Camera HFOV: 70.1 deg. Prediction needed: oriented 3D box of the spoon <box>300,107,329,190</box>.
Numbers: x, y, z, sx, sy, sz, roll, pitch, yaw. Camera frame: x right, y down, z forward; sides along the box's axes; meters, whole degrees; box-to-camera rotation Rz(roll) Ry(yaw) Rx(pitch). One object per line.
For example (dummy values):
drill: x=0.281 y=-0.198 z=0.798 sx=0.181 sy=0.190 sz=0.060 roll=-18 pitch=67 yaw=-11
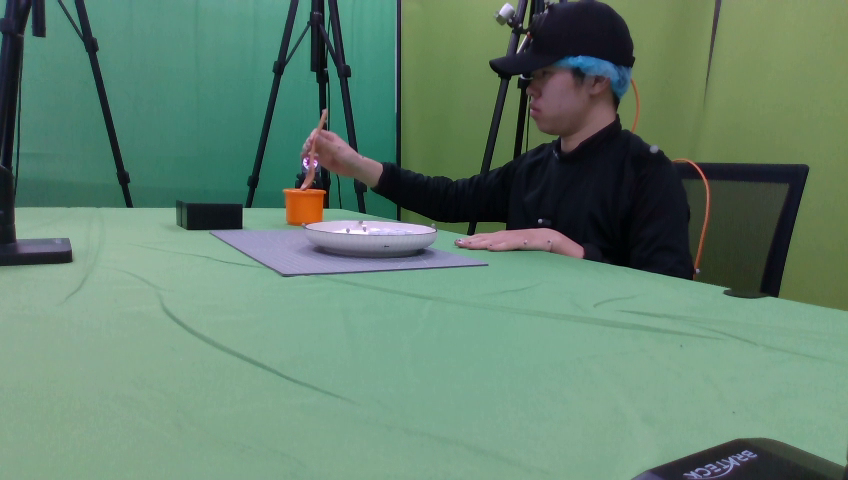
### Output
spoon: x=-0.233 y=-0.196 z=1.291 sx=0.022 sy=0.193 sz=0.041 roll=16 pitch=-10 yaw=-27

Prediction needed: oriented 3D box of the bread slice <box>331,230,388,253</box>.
bread slice: x=-0.088 y=0.000 z=0.947 sx=0.105 sy=0.019 sz=0.131 roll=-4 pitch=11 yaw=-44

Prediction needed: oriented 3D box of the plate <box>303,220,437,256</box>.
plate: x=-0.084 y=-0.003 z=0.951 sx=0.209 sy=0.038 sz=0.209 roll=3 pitch=7 yaw=0
